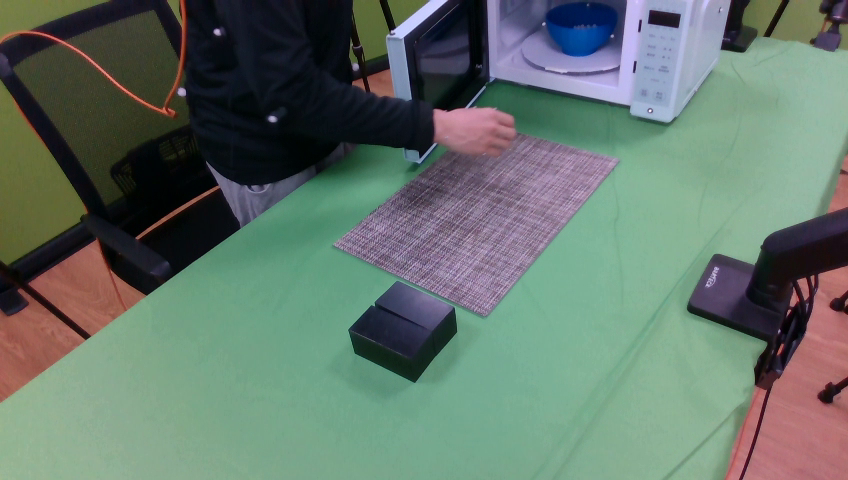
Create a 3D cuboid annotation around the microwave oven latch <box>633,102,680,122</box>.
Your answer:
[{"bbox_3d":[0.444,-0.249,1.157,0.078,0.029,0.030,22,49,31],"label":"microwave oven latch"}]

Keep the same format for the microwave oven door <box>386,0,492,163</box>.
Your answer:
[{"bbox_3d":[0.043,-0.346,1.172,0.039,0.245,0.356,14,45,24],"label":"microwave oven door"}]

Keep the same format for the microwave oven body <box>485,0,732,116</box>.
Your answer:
[{"bbox_3d":[0.377,-0.462,1.267,0.438,0.261,0.327,21,48,30],"label":"microwave oven body"}]
